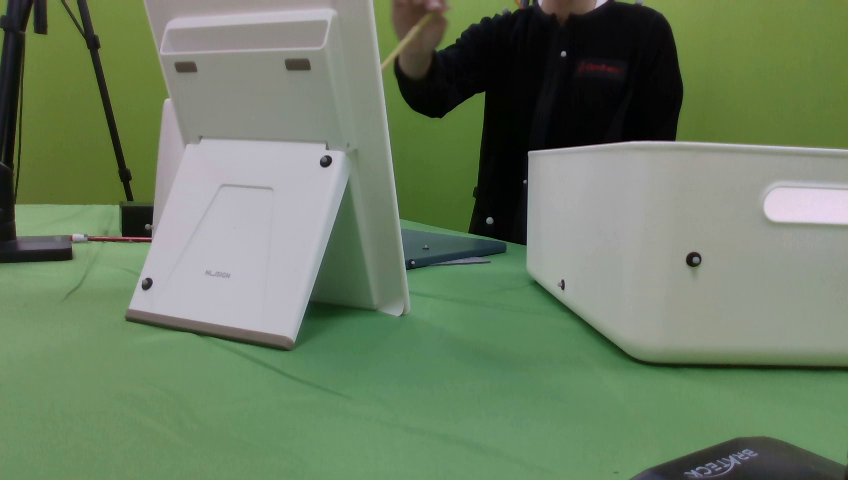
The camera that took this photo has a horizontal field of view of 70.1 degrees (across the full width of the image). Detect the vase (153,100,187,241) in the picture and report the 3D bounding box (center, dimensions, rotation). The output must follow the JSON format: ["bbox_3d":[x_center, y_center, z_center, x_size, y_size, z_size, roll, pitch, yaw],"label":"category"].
[{"bbox_3d":[-0.278,-0.066,0.736,0.098,0.200,0.098,2,9,0],"label":"vase"}]

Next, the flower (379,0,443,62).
[{"bbox_3d":[0.012,-0.286,0.741,0.038,0.362,0.044,48,-7,-24],"label":"flower"}]

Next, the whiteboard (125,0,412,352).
[{"bbox_3d":[-0.151,-0.049,0.472,0.216,0.305,0.144,6,27,24],"label":"whiteboard"}]

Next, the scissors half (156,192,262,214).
[{"bbox_3d":[-0.371,-0.069,1.051,0.176,0.040,0.013,2,25,-24],"label":"scissors half"}]

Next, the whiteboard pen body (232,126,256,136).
[{"bbox_3d":[-0.407,-0.247,1.372,0.017,0.017,0.140,-3,13,-35],"label":"whiteboard pen body"}]

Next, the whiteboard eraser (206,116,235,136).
[{"bbox_3d":[-0.449,-0.251,1.335,0.056,0.042,0.112,1,7,-22],"label":"whiteboard eraser"}]

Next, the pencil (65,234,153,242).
[{"bbox_3d":[-0.429,-0.001,0.911,0.195,0.012,0.012,1,8,-19],"label":"pencil"}]

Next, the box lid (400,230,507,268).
[{"bbox_3d":[-0.065,0.011,0.933,0.262,0.015,0.373,7,8,36],"label":"box lid"}]

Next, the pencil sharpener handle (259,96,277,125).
[{"bbox_3d":[-0.373,-0.304,1.425,0.036,0.067,0.030,13,-1,-37],"label":"pencil sharpener handle"}]

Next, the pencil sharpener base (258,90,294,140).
[{"bbox_3d":[-0.341,-0.285,1.388,0.062,0.107,0.076,-3,9,-36],"label":"pencil sharpener base"}]

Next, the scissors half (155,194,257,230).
[{"bbox_3d":[-0.378,-0.051,1.058,0.176,0.040,0.012,20,22,-31],"label":"scissors half"}]

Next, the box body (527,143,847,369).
[{"bbox_3d":[0.257,-0.005,0.591,0.254,0.160,0.363,2,7,-4],"label":"box body"}]

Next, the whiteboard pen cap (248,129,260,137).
[{"bbox_3d":[-0.373,-0.235,1.326,0.018,0.018,0.033,-3,12,-35],"label":"whiteboard pen cap"}]
